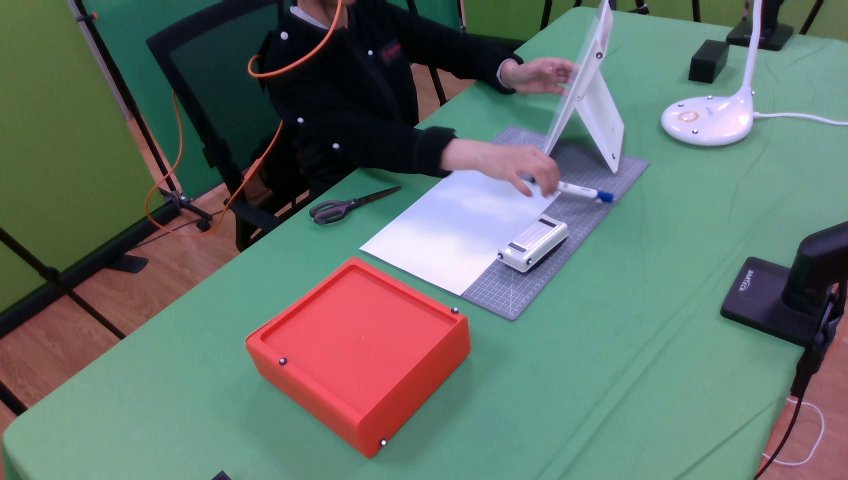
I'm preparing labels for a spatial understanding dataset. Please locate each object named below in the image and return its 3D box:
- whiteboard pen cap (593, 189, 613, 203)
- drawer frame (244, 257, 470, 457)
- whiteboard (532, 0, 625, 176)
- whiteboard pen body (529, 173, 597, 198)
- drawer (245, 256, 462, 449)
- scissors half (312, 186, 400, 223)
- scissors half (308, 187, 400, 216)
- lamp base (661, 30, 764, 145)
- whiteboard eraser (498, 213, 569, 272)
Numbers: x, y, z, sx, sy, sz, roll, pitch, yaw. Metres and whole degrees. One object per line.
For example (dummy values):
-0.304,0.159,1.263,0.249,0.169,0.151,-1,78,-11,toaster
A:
0.293,-0.073,0.992,0.033,0.018,0.018,12,38,-15,whiteboard pen cap
-0.084,0.138,0.788,0.212,0.083,0.202,25,50,33,drawer frame
0.320,-0.259,1.050,0.144,0.306,0.217,21,45,5,whiteboard
0.235,-0.085,0.979,0.141,0.017,0.017,13,38,-14,whiteboard pen body
-0.089,0.136,0.792,0.210,0.073,0.195,26,51,34,drawer
-0.119,-0.066,1.088,0.176,0.013,0.040,-25,38,-24,scissors half
-0.126,-0.075,1.104,0.176,0.013,0.039,-15,29,-10,scissors half
0.535,-0.287,1.096,0.179,0.181,0.159,-10,40,-4,lamp base
0.168,0.006,0.924,0.113,0.042,0.055,-36,48,-28,whiteboard eraser
